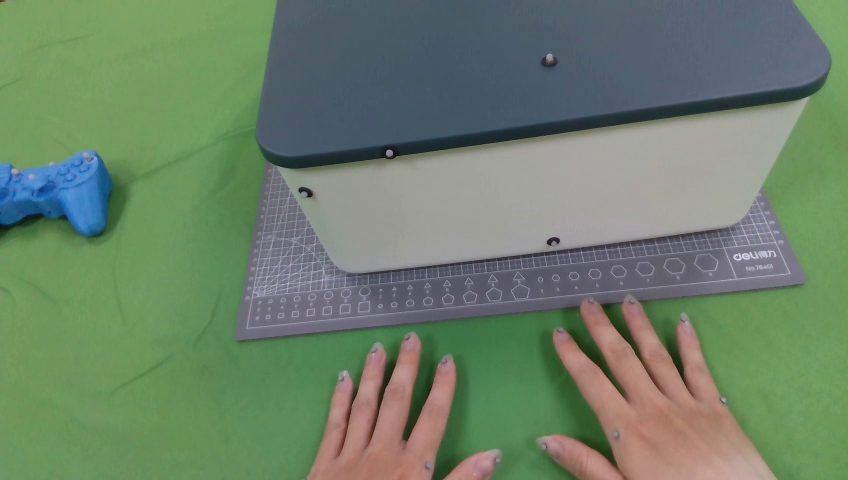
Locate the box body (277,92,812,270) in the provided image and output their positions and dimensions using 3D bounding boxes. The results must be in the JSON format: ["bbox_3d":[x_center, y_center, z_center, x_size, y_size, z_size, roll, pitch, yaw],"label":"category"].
[{"bbox_3d":[0.077,-0.127,0.508,0.364,0.162,0.251,-7,53,4],"label":"box body"}]

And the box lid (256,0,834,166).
[{"bbox_3d":[0.064,-0.171,0.450,0.371,0.015,0.260,-7,53,4],"label":"box lid"}]

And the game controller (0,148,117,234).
[{"bbox_3d":[-0.385,-0.047,0.602,0.155,0.052,0.096,-7,49,4],"label":"game controller"}]
